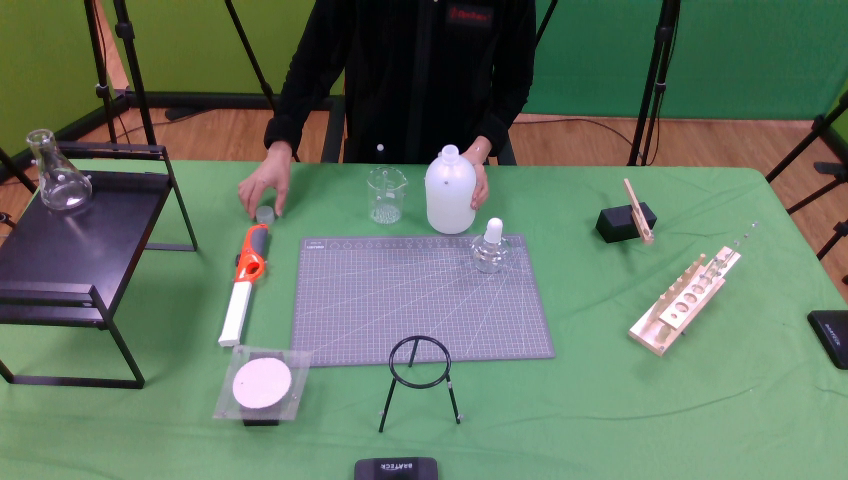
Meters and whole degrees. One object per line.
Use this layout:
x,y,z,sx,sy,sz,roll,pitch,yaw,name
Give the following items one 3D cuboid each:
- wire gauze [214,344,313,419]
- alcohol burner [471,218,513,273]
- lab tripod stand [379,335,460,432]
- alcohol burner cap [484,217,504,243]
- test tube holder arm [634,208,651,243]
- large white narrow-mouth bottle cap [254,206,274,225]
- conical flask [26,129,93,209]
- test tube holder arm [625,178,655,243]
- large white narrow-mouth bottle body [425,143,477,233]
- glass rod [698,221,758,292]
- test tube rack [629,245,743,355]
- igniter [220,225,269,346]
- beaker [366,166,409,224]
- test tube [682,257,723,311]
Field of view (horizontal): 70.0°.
-0.241,0.213,0.916,0.121,0.011,0.124,5,46,1,wire gauze
0.128,0.005,1.132,0.078,0.120,0.077,0,47,0,alcohol burner
-0.011,0.214,0.911,0.148,0.132,0.147,1,45,0,lab tripod stand
0.130,-0.021,1.107,0.034,0.048,0.033,4,41,-3,alcohol burner cap
0.428,-0.030,1.189,0.010,0.015,0.087,1,47,-2,test tube holder arm
-0.323,-0.049,1.222,0.038,0.024,0.037,2,47,-2,large white narrow-mouth bottle cap
-0.575,-0.113,0.946,0.075,0.122,0.075,2,46,-2,conical flask
0.433,-0.062,1.220,0.013,0.015,0.177,1,47,-3,test tube holder arm
0.053,-0.108,1.176,0.102,0.195,0.101,-1,53,1,large white narrow-mouth bottle body
0.527,0.035,1.059,0.008,0.200,0.008,5,49,-6,glass rod
0.474,0.095,1.091,0.242,0.085,0.066,-34,56,-31,test tube rack
-0.323,0.072,1.100,0.057,0.025,0.275,-6,46,5,igniter
-0.074,-0.088,1.222,0.084,0.101,0.073,4,46,-1,beaker
0.475,0.080,1.037,0.017,0.151,0.017,1,50,-1,test tube
